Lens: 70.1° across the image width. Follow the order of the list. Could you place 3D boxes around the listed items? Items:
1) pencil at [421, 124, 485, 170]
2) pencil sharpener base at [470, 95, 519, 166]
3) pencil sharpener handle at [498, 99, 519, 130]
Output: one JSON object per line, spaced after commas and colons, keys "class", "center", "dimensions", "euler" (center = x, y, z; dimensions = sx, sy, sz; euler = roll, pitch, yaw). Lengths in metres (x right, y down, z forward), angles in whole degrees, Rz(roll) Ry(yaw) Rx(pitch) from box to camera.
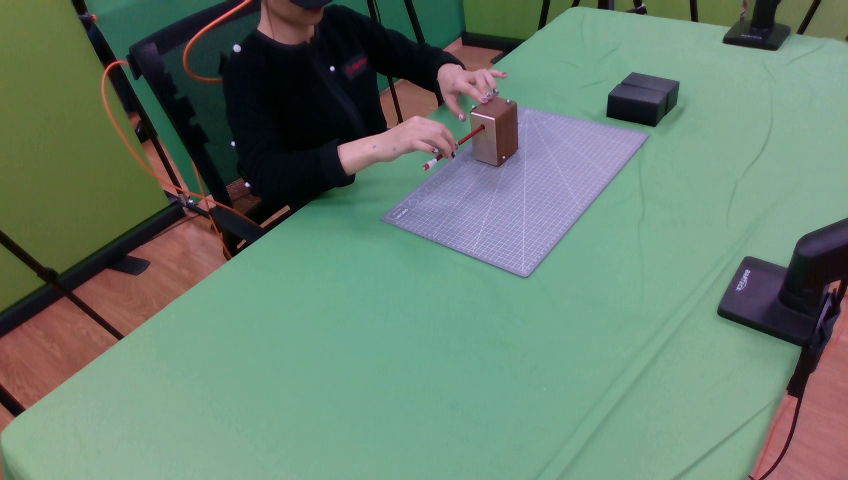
{"class": "pencil", "center": [0.063, -0.172, 1.059], "dimensions": [0.012, 0.012, 0.195], "euler": [27, 50, 35]}
{"class": "pencil sharpener base", "center": [0.134, -0.205, 1.128], "dimensions": [0.061, 0.107, 0.077], "euler": [23, 50, 34]}
{"class": "pencil sharpener handle", "center": [0.165, -0.243, 1.148], "dimensions": [0.035, 0.068, 0.031], "euler": [21, 49, 35]}
